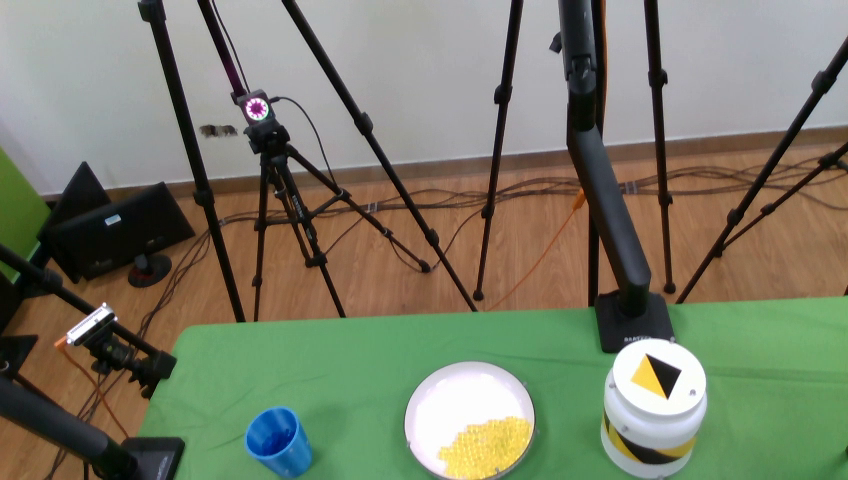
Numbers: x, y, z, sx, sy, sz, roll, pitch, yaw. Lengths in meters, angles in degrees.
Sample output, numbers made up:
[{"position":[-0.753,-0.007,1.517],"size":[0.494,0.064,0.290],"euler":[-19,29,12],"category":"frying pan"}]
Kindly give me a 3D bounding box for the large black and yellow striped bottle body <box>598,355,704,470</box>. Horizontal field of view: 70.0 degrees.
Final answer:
[{"position":[0.317,0.228,0.855],"size":[0.130,0.186,0.129],"euler":[-6,46,7],"category":"large black and yellow striped bottle body"}]

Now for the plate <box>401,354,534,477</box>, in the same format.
[{"position":[0.069,0.279,0.964],"size":[0.209,0.038,0.207],"euler":[-6,46,7],"category":"plate"}]

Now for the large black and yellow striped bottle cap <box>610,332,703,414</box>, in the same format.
[{"position":[0.303,0.172,0.793],"size":[0.115,0.019,0.114],"euler":[-7,45,8],"category":"large black and yellow striped bottle cap"}]

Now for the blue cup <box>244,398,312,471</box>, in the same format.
[{"position":[-0.220,0.313,0.948],"size":[0.092,0.101,0.091],"euler":[-7,46,8],"category":"blue cup"}]
